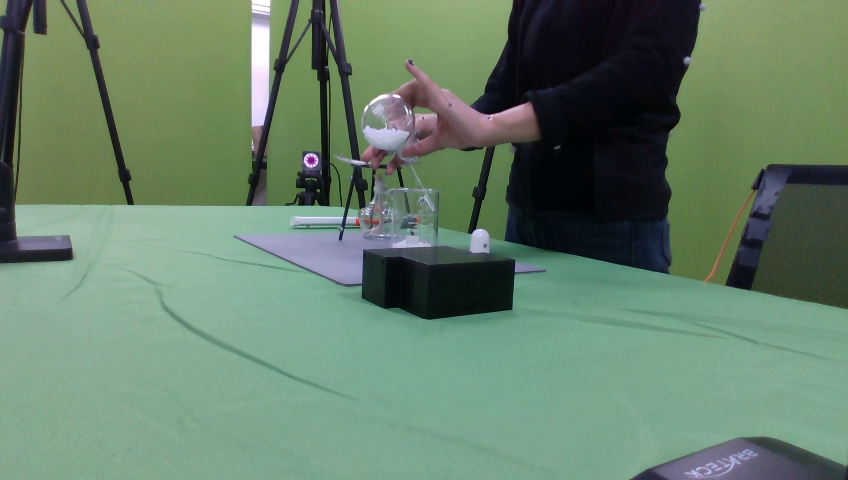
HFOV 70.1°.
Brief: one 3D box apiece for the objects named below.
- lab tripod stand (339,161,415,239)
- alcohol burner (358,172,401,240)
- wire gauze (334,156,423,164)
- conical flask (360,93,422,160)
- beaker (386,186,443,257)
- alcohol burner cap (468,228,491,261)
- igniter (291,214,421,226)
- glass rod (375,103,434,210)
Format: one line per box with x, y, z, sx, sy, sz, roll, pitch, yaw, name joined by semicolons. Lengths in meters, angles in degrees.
-0.082;-0.070;1.059;0.148;0.131;0.148;4;6;0;lab tripod stand
-0.077;-0.061;1.065;0.078;0.119;0.078;4;9;0;alcohol burner
-0.081;-0.137;1.051;0.122;0.011;0.124;0;8;-30;wire gauze
-0.036;-0.147;0.837;0.075;0.075;0.122;4;-9;15;conical flask
-0.015;-0.028;0.886;0.084;0.100;0.074;1;7;-9;beaker
0.082;0.006;0.878;0.034;0.048;0.034;3;6;0;alcohol burner cap
-0.135;-0.041;1.250;0.278;0.025;0.057;-1;-3;-28;igniter
-0.031;-0.127;0.902;0.008;0.199;0.008;-25;-19;-9;glass rod
